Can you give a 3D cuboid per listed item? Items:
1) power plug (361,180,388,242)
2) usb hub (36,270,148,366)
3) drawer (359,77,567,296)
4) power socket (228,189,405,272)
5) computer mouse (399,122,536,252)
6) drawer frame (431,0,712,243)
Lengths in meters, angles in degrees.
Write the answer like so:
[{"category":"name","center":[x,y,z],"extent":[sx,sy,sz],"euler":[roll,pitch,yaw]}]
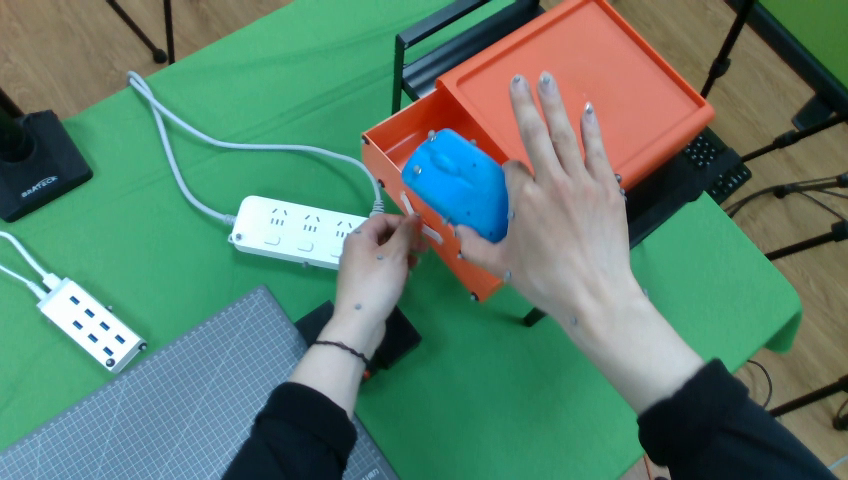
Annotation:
[{"category":"power plug","center":[-0.056,-0.032,0.775],"extent":[0.035,0.053,0.072],"euler":[22,68,3]},{"category":"usb hub","center":[-0.396,0.093,0.723],"extent":[0.125,0.025,0.049],"euler":[37,73,7]},{"category":"drawer","center":[0.074,-0.083,0.612],"extent":[0.211,0.073,0.193],"euler":[-37,78,-17]},{"category":"power socket","center":[-0.137,-0.012,0.781],"extent":[0.227,0.033,0.072],"euler":[11,70,-1]},{"category":"computer mouse","center":[0.036,-0.047,0.508],"extent":[0.117,0.041,0.063],"euler":[43,83,9]},{"category":"drawer frame","center":[0.147,-0.138,0.635],"extent":[0.213,0.083,0.200],"euler":[-36,78,-17]}]
